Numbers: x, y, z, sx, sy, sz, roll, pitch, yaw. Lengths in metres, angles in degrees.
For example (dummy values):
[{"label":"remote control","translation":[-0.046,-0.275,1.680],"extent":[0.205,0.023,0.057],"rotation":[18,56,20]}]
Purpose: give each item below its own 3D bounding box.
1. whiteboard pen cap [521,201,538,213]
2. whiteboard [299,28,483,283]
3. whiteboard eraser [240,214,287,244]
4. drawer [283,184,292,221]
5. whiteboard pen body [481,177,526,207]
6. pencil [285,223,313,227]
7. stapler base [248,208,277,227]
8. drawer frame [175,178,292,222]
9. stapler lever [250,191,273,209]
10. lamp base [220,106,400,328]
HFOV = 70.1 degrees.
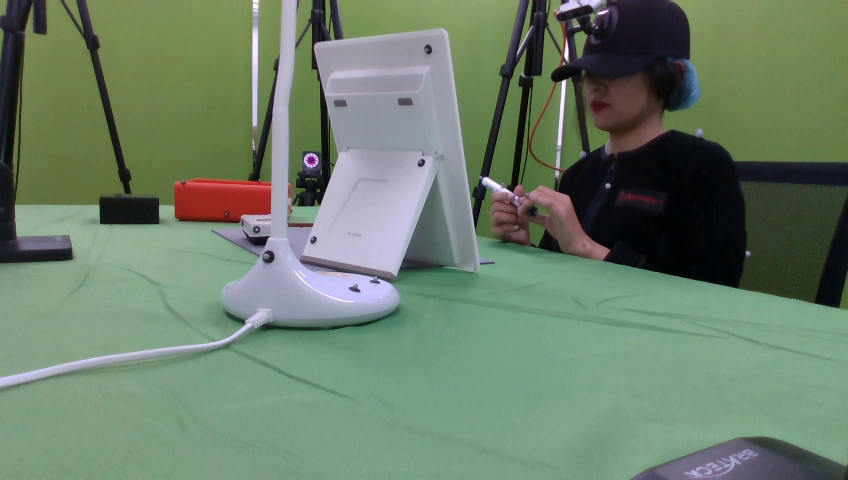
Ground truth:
[{"label":"whiteboard pen cap","translation":[0.183,-0.058,1.050],"extent":[0.018,0.018,0.033],"rotation":[-1,15,-24]},{"label":"whiteboard","translation":[-0.075,-0.082,0.741],"extent":[0.216,0.305,0.144],"rotation":[9,30,38]},{"label":"whiteboard eraser","translation":[-0.256,-0.018,0.958],"extent":[0.056,0.042,0.112],"rotation":[0,8,-25]},{"label":"drawer","translation":[-0.397,-0.086,1.314],"extent":[0.212,0.073,0.194],"rotation":[1,8,-9]},{"label":"whiteboard pen body","translation":[0.151,-0.083,1.092],"extent":[0.017,0.017,0.140],"rotation":[-3,28,-37]},{"label":"pencil","translation":[-0.234,-0.030,1.198],"extent":[0.195,0.012,0.012],"rotation":[0,8,-20]},{"label":"stapler base","translation":[-0.350,-0.053,1.310],"extent":[0.041,0.024,0.130],"rotation":[1,13,-3]},{"label":"drawer frame","translation":[-0.402,-0.087,1.311],"extent":[0.214,0.082,0.201],"rotation":[1,8,-9]},{"label":"stapler lever","translation":[-0.351,-0.086,1.305],"extent":[0.027,0.040,0.118],"rotation":[1,5,-3]},{"label":"lamp base","translation":[-0.101,-0.023,0.531],"extent":[0.160,0.180,0.179],"rotation":[4,10,10]}]
